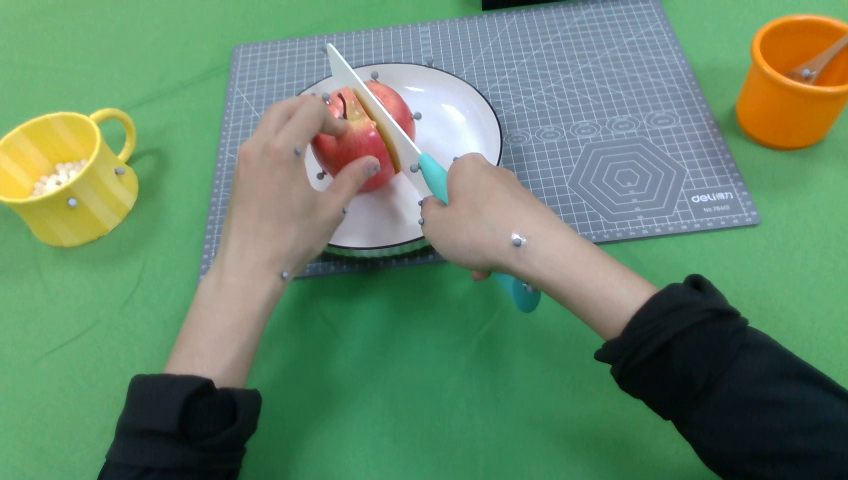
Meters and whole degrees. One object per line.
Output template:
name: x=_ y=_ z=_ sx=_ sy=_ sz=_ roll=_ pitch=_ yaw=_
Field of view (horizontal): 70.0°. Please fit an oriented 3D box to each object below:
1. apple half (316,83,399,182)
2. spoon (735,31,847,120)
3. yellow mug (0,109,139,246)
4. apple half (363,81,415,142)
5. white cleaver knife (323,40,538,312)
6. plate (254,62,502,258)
apple half: x=-0.056 y=-0.079 z=0.493 sx=0.053 sy=0.075 sz=0.080 roll=-43 pitch=64 yaw=-6
spoon: x=0.338 y=-0.160 z=0.473 sx=0.022 sy=0.194 sz=0.041 roll=20 pitch=45 yaw=-34
yellow mug: x=-0.305 y=-0.065 z=0.533 sx=0.099 sy=0.064 sz=0.130 roll=24 pitch=61 yaw=20
apple half: x=-0.027 y=-0.097 z=0.506 sx=0.033 sy=0.082 sz=0.080 roll=-29 pitch=58 yaw=-16
white cleaver knife: x=-0.005 y=-0.056 z=0.458 sx=0.021 sy=0.066 sz=0.283 roll=-30 pitch=61 yaw=-12
plate: x=-0.038 y=-0.069 z=0.520 sx=0.209 sy=0.038 sz=0.207 roll=-3 pitch=57 yaw=4
